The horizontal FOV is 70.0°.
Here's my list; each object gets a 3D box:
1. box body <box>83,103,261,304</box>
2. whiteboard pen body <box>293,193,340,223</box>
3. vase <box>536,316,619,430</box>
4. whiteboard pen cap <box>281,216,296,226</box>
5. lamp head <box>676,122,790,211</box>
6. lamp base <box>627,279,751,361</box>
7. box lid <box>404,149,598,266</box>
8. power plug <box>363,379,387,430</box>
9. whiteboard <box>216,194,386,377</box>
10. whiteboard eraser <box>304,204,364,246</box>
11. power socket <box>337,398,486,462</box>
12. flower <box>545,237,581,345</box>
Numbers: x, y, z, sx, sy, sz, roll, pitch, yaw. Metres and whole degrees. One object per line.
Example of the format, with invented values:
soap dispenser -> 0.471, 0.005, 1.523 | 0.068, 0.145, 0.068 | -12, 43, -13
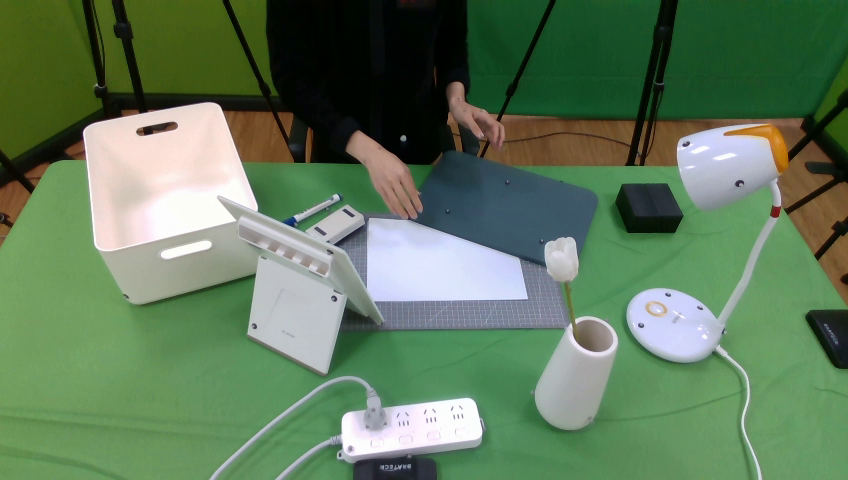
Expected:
box body -> -0.465, -0.077, 1.137 | 0.254, 0.161, 0.361 | -16, 50, -19
whiteboard pen body -> -0.231, -0.061, 1.243 | 0.141, 0.017, 0.017 | -32, 56, -30
vase -> 0.229, 0.200, 0.901 | 0.098, 0.201, 0.097 | 3, 46, -3
whiteboard pen cap -> -0.273, -0.034, 1.213 | 0.033, 0.018, 0.018 | -32, 56, -31
lamp head -> 0.423, -0.104, 0.819 | 0.122, 0.113, 0.112 | -13, 33, 40
lamp base -> 0.460, 0.100, 1.027 | 0.178, 0.181, 0.160 | 27, 51, 17
box lid -> 0.171, -0.073, 1.290 | 0.371, 0.015, 0.262 | 19, 47, 14
power plug -> -0.071, 0.252, 0.911 | 0.035, 0.053, 0.072 | 3, 40, 0
whiteboard -> -0.212, 0.093, 0.939 | 0.216, 0.307, 0.143 | 24, 70, 17
whiteboard eraser -> -0.175, -0.022, 1.188 | 0.055, 0.042, 0.112 | 36, 53, 26
power socket -> -0.018, 0.285, 0.914 | 0.227, 0.033, 0.071 | -4, 46, -8
flower -> 0.213, 0.137, 0.846 | 0.038, 0.364, 0.044 | 21, 55, 40
